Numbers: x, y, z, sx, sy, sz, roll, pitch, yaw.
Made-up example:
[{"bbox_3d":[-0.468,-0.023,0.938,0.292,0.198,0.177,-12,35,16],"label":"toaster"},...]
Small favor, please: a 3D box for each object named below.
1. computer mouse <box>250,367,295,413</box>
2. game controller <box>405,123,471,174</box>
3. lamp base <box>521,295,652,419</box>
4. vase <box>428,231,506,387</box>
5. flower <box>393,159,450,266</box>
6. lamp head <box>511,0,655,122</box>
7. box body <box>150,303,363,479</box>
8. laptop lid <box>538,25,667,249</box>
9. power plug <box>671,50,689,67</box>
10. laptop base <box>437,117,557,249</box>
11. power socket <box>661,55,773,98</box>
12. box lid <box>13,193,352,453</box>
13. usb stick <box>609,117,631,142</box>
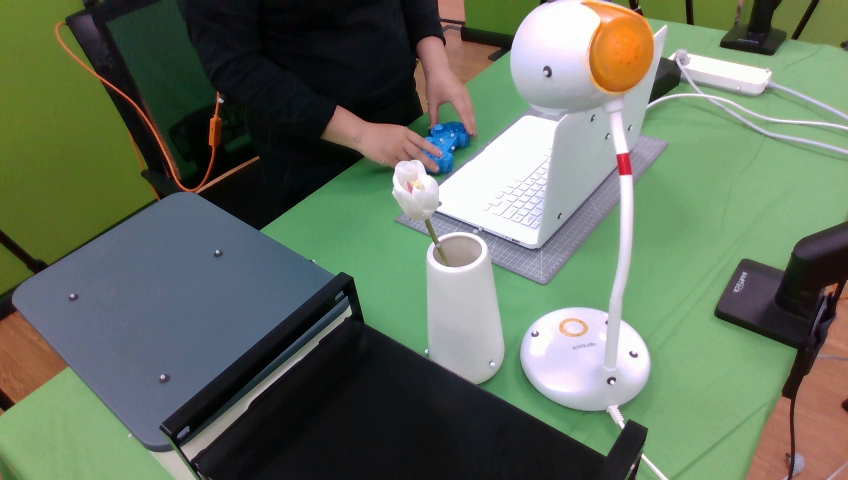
[{"bbox_3d":[-0.196,0.181,0.772,0.063,0.041,0.116,-12,47,-11],"label":"computer mouse"},{"bbox_3d":[0.028,-0.182,1.171,0.096,0.052,0.155,16,45,19],"label":"game controller"},{"bbox_3d":[0.201,0.095,0.710,0.161,0.181,0.177,-16,43,-10],"label":"lamp base"},{"bbox_3d":[0.050,0.087,0.728,0.098,0.201,0.097,-3,40,3],"label":"vase"},{"bbox_3d":[0.028,0.035,0.665,0.043,0.364,0.038,34,72,29],"label":"flower"},{"bbox_3d":[0.155,-0.168,0.563,0.113,0.113,0.122,-18,23,-12],"label":"lamp head"},{"bbox_3d":[-0.284,0.123,0.765,0.361,0.161,0.255,25,49,33],"label":"box body"},{"bbox_3d":[0.281,-0.163,0.942,0.013,0.242,0.358,28,50,27],"label":"laptop lid"},{"bbox_3d":[0.540,-0.379,1.302,0.073,0.053,0.035,-31,46,-23],"label":"power plug"},{"bbox_3d":[0.193,-0.117,1.087,0.233,0.023,0.355,21,47,34],"label":"laptop base"},{"bbox_3d":[0.619,-0.352,1.289,0.225,0.033,0.072,26,51,33],"label":"power socket"},{"bbox_3d":[-0.291,0.067,0.716,0.368,0.015,0.264,25,50,33],"label":"box lid"},{"bbox_3d":[0.370,-0.208,1.147,0.021,0.027,0.059,26,55,32],"label":"usb stick"}]
